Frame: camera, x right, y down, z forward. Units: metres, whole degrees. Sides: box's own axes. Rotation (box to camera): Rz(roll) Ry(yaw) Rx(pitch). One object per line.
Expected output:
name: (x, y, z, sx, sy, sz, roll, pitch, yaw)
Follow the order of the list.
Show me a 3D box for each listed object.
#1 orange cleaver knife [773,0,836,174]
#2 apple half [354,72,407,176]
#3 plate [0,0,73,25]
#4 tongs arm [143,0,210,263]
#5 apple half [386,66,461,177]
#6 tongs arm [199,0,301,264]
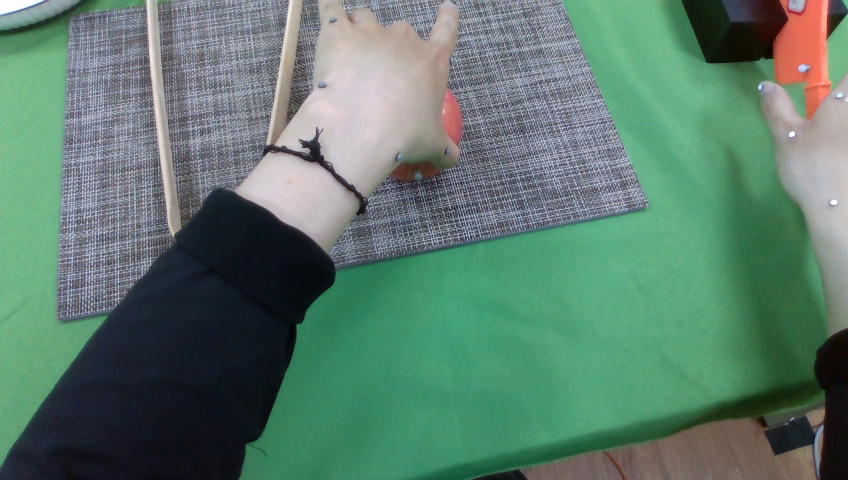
orange cleaver knife: (0.313, -0.161, 0.499, 0.012, 0.077, 0.211, -6, 97, -3)
apple half: (-0.036, -0.082, 0.459, 0.033, 0.082, 0.080, -11, 65, -10)
plate: (-0.387, -0.275, 0.568, 0.209, 0.038, 0.207, 1, 64, -1)
tongs arm: (-0.221, -0.152, 0.515, 0.028, 0.028, 0.384, -12, 65, -11)
apple half: (0.001, -0.090, 0.465, 0.053, 0.075, 0.080, -11, 61, -9)
tongs arm: (-0.136, -0.161, 0.519, 0.051, 0.027, 0.381, 0, 65, -2)
